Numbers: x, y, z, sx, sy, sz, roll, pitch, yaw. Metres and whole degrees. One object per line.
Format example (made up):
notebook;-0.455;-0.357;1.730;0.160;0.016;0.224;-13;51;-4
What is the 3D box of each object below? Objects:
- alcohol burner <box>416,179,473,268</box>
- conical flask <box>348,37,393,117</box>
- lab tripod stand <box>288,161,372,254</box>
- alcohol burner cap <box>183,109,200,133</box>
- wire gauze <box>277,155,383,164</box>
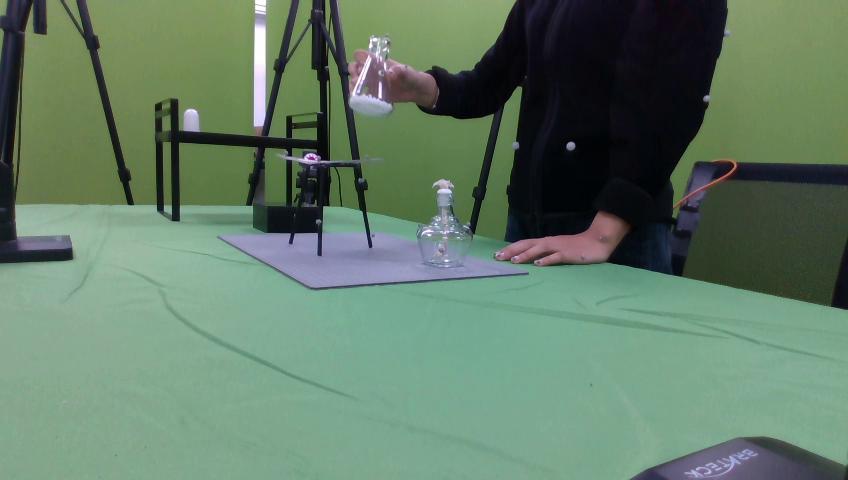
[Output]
alcohol burner;0.028;-0.022;0.816;0.078;0.119;0.078;0;6;0
conical flask;-0.082;-0.270;0.995;0.075;0.121;0.075;6;-7;1
lab tripod stand;-0.148;-0.052;0.908;0.148;0.131;0.148;1;8;0
alcohol burner cap;-0.472;-0.241;1.229;0.034;0.048;0.034;3;8;0
wire gauze;-0.142;-0.118;0.899;0.122;0.011;0.124;-3;8;-36
